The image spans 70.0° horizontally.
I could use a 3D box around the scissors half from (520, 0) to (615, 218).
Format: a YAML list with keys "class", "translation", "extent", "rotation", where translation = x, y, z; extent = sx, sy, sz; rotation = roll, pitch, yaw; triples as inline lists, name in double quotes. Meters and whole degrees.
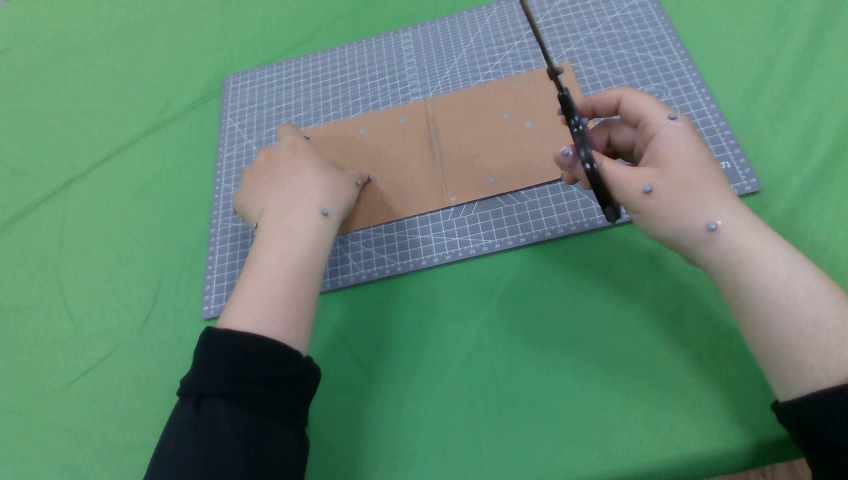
- class: "scissors half"
  translation: [0.083, -0.092, 0.372]
  extent: [0.013, 0.040, 0.175]
  rotation: [-22, 99, 19]

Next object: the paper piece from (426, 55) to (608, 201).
- class: "paper piece"
  translation: [0.075, -0.103, 0.530]
  extent: [0.135, 0.004, 0.134]
  rotation: [-14, 55, 7]

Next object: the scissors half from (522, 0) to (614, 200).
- class: "scissors half"
  translation: [0.087, -0.100, 0.389]
  extent: [0.013, 0.176, 0.040]
  rotation: [-19, 25, 24]

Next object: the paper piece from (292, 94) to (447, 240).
- class: "paper piece"
  translation: [-0.055, -0.071, 0.545]
  extent: [0.138, 0.009, 0.134]
  rotation: [-14, 52, 8]
